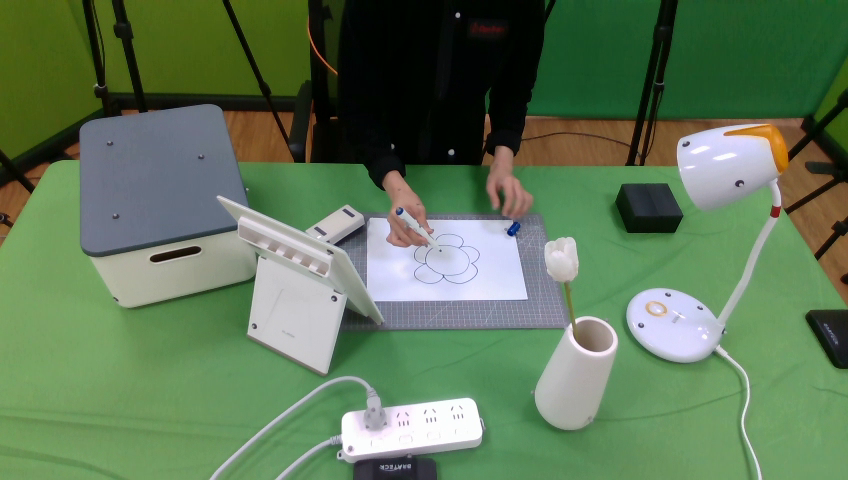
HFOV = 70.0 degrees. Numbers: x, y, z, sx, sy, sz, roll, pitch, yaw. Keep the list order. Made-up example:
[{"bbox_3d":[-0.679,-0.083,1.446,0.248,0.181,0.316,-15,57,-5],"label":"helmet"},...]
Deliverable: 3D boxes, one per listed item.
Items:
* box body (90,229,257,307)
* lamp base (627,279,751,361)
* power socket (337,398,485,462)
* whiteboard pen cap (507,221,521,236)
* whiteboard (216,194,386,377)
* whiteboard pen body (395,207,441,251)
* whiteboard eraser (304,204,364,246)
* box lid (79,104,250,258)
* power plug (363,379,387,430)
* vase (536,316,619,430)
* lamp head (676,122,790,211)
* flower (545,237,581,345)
[{"bbox_3d":[-0.471,-0.070,1.131,0.254,0.161,0.361,-14,49,-17],"label":"box body"},{"bbox_3d":[0.460,0.100,1.027,0.178,0.181,0.160,27,51,17],"label":"lamp base"},{"bbox_3d":[-0.018,0.285,0.914,0.227,0.033,0.071,-4,46,-8],"label":"power socket"},{"bbox_3d":[0.181,-0.023,1.233,0.018,0.018,0.033,28,51,21],"label":"whiteboard pen cap"},{"bbox_3d":[-0.212,0.093,0.939,0.216,0.307,0.143,24,70,17],"label":"whiteboard"},{"bbox_3d":[-0.007,-0.016,1.087,0.017,0.141,0.017,-22,47,26],"label":"whiteboard pen body"},{"bbox_3d":[-0.175,-0.022,1.188,0.055,0.042,0.112,36,53,26],"label":"whiteboard eraser"},{"bbox_3d":[-0.467,-0.120,1.075,0.264,0.015,0.369,-13,49,-17],"label":"box lid"},{"bbox_3d":[-0.071,0.252,0.911,0.035,0.053,0.072,3,40,0],"label":"power plug"},{"bbox_3d":[0.229,0.200,0.901,0.098,0.201,0.097,3,46,-3],"label":"vase"},{"bbox_3d":[0.423,-0.104,0.819,0.122,0.113,0.112,-13,33,40],"label":"lamp head"},{"bbox_3d":[0.213,0.137,0.846,0.038,0.364,0.044,21,55,40],"label":"flower"}]
